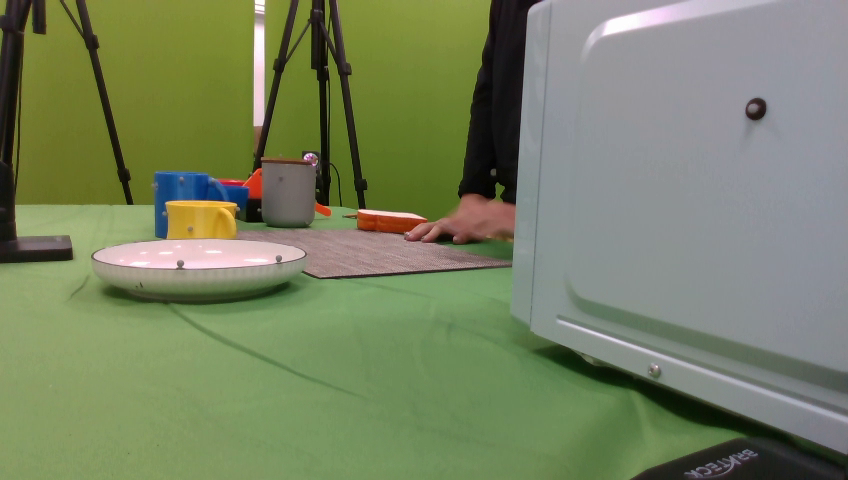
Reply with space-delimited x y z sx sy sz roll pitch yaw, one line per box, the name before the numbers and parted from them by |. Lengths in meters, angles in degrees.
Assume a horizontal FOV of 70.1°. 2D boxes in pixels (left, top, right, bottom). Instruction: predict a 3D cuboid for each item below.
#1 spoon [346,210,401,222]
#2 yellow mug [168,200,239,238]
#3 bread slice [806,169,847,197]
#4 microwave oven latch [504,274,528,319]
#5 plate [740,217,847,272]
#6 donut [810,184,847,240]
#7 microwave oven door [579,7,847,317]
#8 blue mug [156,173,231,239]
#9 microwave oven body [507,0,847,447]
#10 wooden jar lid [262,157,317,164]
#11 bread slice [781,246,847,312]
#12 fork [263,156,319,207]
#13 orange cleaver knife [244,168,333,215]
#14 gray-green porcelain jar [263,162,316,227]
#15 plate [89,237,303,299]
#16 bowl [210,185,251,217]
spoon | -0.121 -0.059 1.400 0.042 0.021 0.192 -25 23 -38
yellow mug | -0.320 -0.023 0.904 0.130 0.064 0.100 9 11 36
bread slice | 0.365 -0.051 0.453 0.135 0.018 0.106 -10 1 -23
microwave oven latch | 0.100 0.041 0.470 0.079 0.029 0.030 -1 7 -27
plate | 0.358 0.002 0.465 0.209 0.038 0.209 0 4 0
donut | 0.352 -0.025 0.463 0.099 0.048 0.099 -10 4 1
microwave oven door | 0.294 -0.067 0.570 0.358 0.243 0.039 -3 9 -31
blue mug | -0.381 -0.057 1.004 0.117 0.106 0.082 0 8 -12
microwave oven body | 0.331 -0.042 0.425 0.444 0.260 0.324 -2 8 -31
wooden jar lid | -0.269 -0.154 1.208 0.108 0.020 0.108 3 4 0
bread slice | 0.369 0.021 0.474 0.132 0.019 0.104 -23 11 -11
fork | -0.331 -0.144 1.505 0.207 0.018 0.028 -42 -21 22
orange cleaver knife | -0.300 -0.089 1.351 0.212 0.077 0.012 28 -9 -34
gray-green porcelain jar | -0.271 -0.092 1.217 0.106 0.126 0.106 2 7 0
plate | -0.233 0.029 0.637 0.208 0.039 0.207 2 7 0
bowl | -0.408 -0.064 1.154 0.151 0.077 0.151 2 8 0
